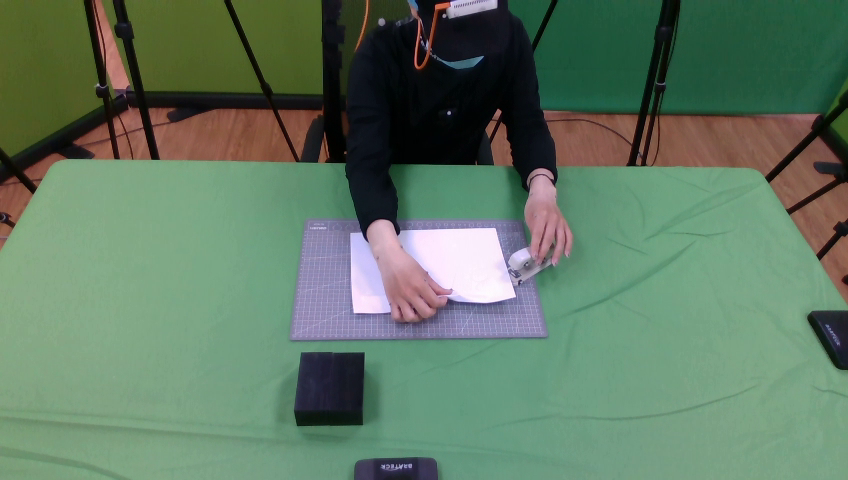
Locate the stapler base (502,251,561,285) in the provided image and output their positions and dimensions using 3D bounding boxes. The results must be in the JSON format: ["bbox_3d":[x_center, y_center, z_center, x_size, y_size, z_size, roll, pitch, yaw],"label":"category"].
[{"bbox_3d":[0.207,0.042,1.164,0.130,0.024,0.041,-27,55,-28],"label":"stapler base"}]

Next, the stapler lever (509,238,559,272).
[{"bbox_3d":[0.210,0.023,1.147,0.118,0.040,0.026,-27,54,-28],"label":"stapler lever"}]
